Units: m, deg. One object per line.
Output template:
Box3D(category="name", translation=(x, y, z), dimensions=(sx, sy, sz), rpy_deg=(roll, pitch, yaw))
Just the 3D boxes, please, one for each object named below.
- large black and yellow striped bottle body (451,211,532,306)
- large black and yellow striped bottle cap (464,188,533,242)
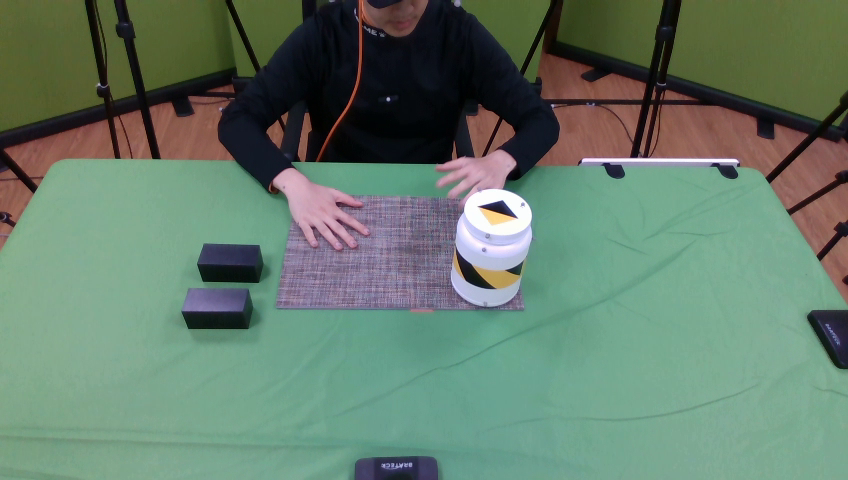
Box3D(category="large black and yellow striped bottle body", translation=(0.119, 0.014, 1.074), dimensions=(0.131, 0.185, 0.130), rpy_deg=(2, 46, -2))
Box3D(category="large black and yellow striped bottle cap", translation=(0.124, -0.044, 1.014), dimensions=(0.115, 0.019, 0.114), rpy_deg=(2, 47, -1))
